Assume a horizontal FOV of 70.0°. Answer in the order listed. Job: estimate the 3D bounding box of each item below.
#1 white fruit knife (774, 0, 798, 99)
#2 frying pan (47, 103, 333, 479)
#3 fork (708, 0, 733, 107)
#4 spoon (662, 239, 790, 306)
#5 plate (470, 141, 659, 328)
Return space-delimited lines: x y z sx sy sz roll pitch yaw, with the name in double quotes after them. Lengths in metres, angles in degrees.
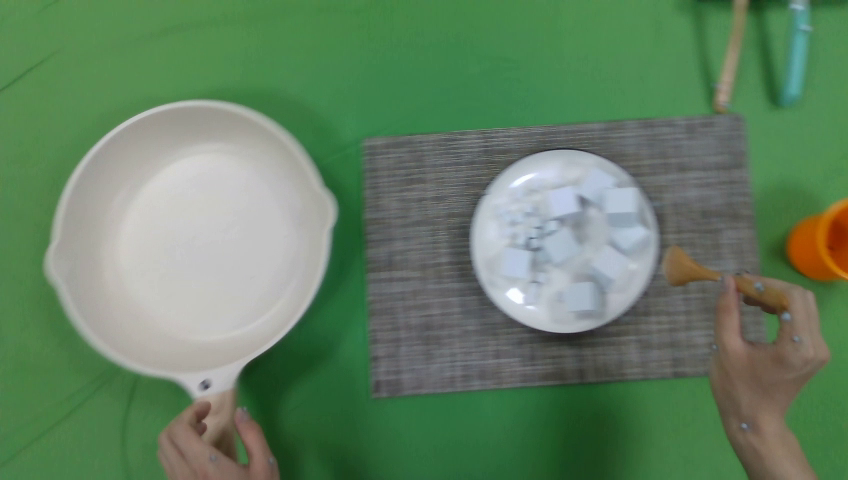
0.415 -0.268 0.689 0.016 0.027 0.208 -2 99 -1 "white fruit knife"
-0.226 0.097 0.644 0.307 0.103 0.485 -12 76 0 "frying pan"
0.344 -0.257 0.689 0.028 0.018 0.208 0 103 -5 "fork"
0.252 0.028 0.522 0.022 0.193 0.041 -1 97 -7 "spoon"
0.154 -0.006 0.682 0.208 0.039 0.207 0 84 1 "plate"
